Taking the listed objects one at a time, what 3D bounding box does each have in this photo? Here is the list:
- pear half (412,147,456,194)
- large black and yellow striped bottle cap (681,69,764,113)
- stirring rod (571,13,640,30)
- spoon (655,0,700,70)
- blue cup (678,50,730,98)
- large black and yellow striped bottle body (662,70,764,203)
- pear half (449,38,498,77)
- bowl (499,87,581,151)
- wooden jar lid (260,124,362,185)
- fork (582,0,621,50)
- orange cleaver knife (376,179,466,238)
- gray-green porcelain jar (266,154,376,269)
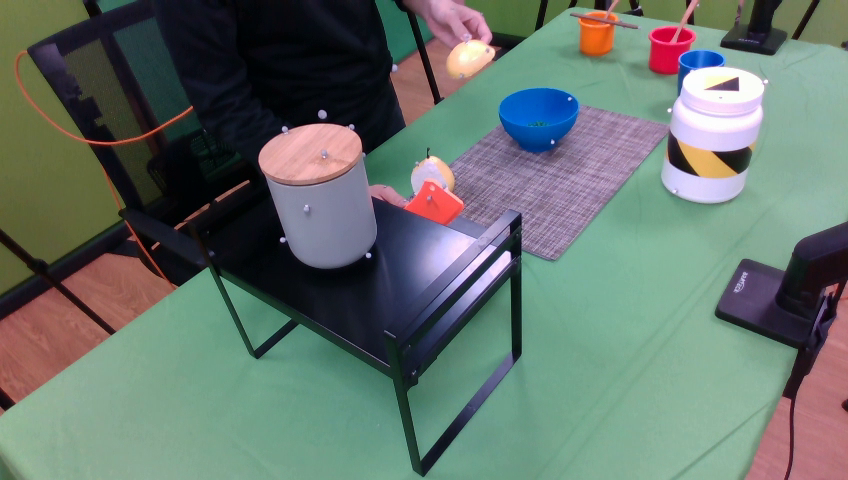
[{"bbox_3d":[0.019,-0.120,1.043,0.076,0.110,0.056,11,44,16],"label":"pear half"},{"bbox_3d":[0.453,-0.229,0.921,0.115,0.019,0.114,-4,39,4],"label":"large black and yellow striped bottle cap"},{"bbox_3d":[0.419,-0.508,1.404,0.174,0.006,0.014,28,55,35],"label":"stirring rod"},{"bbox_3d":[0.568,-0.463,1.337,0.041,0.022,0.193,30,97,37],"label":"spoon"},{"bbox_3d":[0.542,-0.310,1.194,0.092,0.101,0.092,-6,41,6],"label":"blue cup"},{"bbox_3d":[0.464,-0.166,0.976,0.131,0.185,0.130,-5,41,5],"label":"large black and yellow striped bottle body"},{"bbox_3d":[0.075,-0.303,0.983,0.087,0.031,0.070,-5,70,37],"label":"pear half"},{"bbox_3d":[0.220,-0.223,1.156,0.151,0.077,0.150,-4,40,4],"label":"bowl"},{"bbox_3d":[-0.119,-0.088,0.644,0.108,0.021,0.108,-4,40,3],"label":"wooden jar lid"},{"bbox_3d":[0.446,-0.539,1.438,0.207,0.019,0.028,-57,35,12],"label":"fork"},{"bbox_3d":[-0.011,-0.034,0.937,0.012,0.077,0.210,-51,12,-34],"label":"orange cleaver knife"},{"bbox_3d":[-0.112,-0.039,0.685,0.106,0.127,0.105,-4,40,4],"label":"gray-green porcelain jar"}]
